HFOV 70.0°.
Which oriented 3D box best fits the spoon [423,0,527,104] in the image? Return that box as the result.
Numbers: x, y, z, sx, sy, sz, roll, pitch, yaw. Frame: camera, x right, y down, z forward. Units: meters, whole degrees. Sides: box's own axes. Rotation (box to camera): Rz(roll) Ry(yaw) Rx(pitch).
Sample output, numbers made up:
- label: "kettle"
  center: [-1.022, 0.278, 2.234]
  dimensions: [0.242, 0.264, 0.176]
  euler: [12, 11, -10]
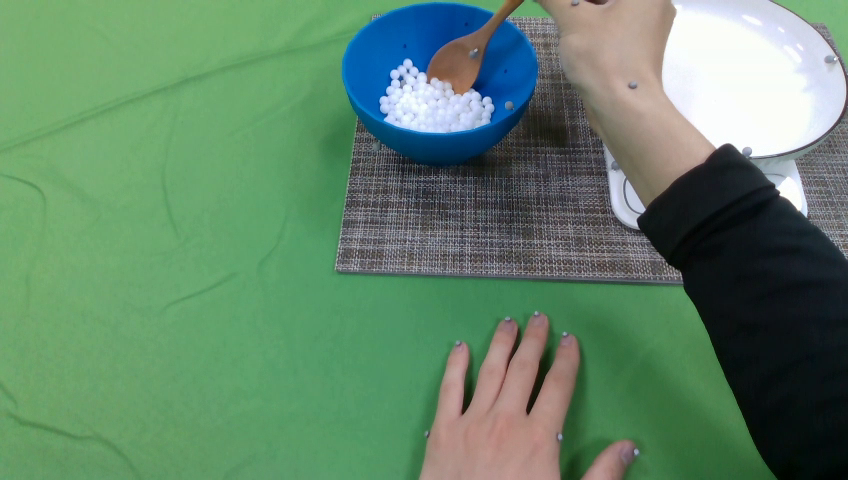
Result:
- label: "spoon"
  center: [0.055, -0.162, 0.449]
  dimensions: [0.021, 0.194, 0.041]
  euler: [-39, 92, -36]

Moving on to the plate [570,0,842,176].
- label: "plate"
  center: [0.220, -0.129, 0.491]
  dimensions: [0.209, 0.038, 0.207]
  euler: [0, 57, 0]

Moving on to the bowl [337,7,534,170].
- label: "bowl"
  center: [0.009, -0.110, 0.492]
  dimensions: [0.151, 0.077, 0.150]
  euler: [0, 56, 1]

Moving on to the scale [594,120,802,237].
- label: "scale"
  center: [0.219, -0.092, 0.506]
  dimensions: [0.148, 0.032, 0.199]
  euler: [1, 57, 2]
